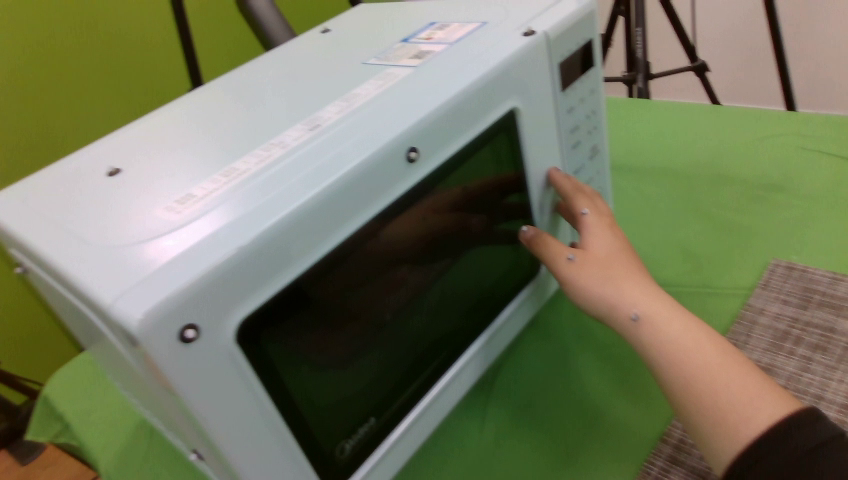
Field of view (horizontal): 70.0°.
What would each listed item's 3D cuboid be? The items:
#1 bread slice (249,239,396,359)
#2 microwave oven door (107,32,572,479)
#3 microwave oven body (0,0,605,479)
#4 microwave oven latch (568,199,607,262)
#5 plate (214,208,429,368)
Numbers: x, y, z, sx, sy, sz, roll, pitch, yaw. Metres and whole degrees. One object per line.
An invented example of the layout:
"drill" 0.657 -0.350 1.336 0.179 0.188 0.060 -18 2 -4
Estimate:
"bread slice" -0.094 0.046 0.577 0.131 0.019 0.104 -37 39 -22
"microwave oven door" -0.008 0.032 0.448 0.039 0.246 0.355 17 47 40
"microwave oven body" -0.086 -0.019 0.567 0.323 0.263 0.441 17 48 40
"microwave oven latch" 0.159 -0.011 0.620 0.030 0.030 0.079 19 48 41
"plate" -0.092 0.043 0.571 0.209 0.038 0.207 -13 34 9
